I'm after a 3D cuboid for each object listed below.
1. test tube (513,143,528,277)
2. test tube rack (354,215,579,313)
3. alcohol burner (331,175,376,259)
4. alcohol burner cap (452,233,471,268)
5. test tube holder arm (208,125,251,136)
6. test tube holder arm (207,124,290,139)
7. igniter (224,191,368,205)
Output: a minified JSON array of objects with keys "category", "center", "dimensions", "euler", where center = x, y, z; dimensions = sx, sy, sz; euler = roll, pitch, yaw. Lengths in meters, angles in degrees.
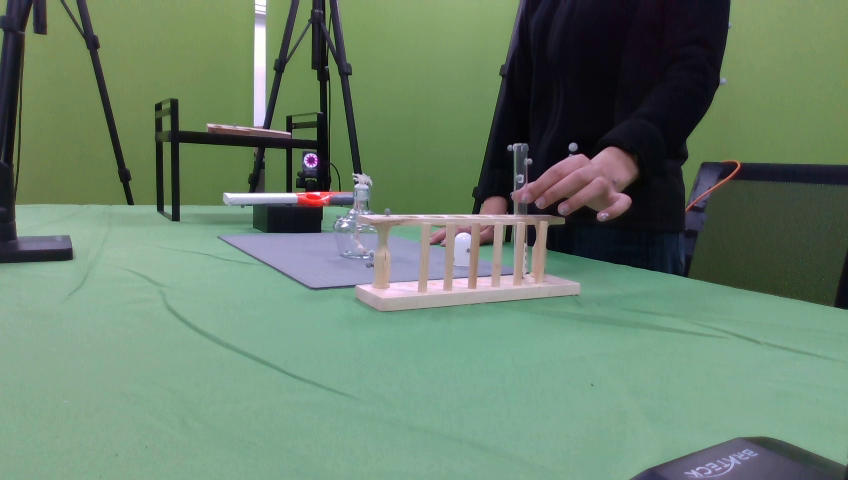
[{"category":"test tube","center":[0.108,-0.033,0.677],"dimensions":[0.017,0.150,0.017],"euler":[-1,8,1]},{"category":"test tube rack","center":[0.052,0.019,0.635],"dimensions":[0.243,0.085,0.066],"euler":[-1,8,-29]},{"category":"alcohol burner","center":[-0.091,-0.033,0.855],"dimensions":[0.078,0.119,0.078],"euler":[4,7,0]},{"category":"alcohol burner cap","center":[0.053,0.014,0.823],"dimensions":[0.034,0.048,0.034],"euler":[3,7,0]},{"category":"test tube holder arm","center":[-0.418,-0.234,1.299],"dimensions":[0.088,0.015,0.010],"euler":[1,41,-32]},{"category":"test tube holder arm","center":[-0.381,-0.237,1.327],"dimensions":[0.179,0.015,0.013],"euler":[0,42,-32]},{"category":"igniter","center":[-0.237,-0.079,1.157],"dimensions":[0.278,0.025,0.057],"euler":[-2,21,-32]}]
